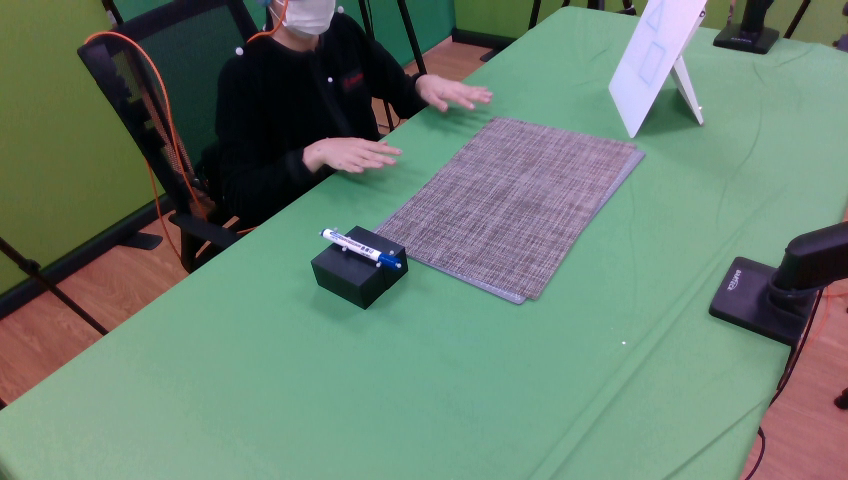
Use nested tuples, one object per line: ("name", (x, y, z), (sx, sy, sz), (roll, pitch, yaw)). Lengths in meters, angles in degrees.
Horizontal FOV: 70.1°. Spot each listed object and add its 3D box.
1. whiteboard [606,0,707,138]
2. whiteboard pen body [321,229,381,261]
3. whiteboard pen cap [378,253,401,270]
("whiteboard", (0.496, -0.359, 1.147), (0.144, 0.305, 0.216), (12, 40, -7))
("whiteboard pen body", (-0.100, 0.010, 0.901), (0.139, 0.017, 0.017), (22, 48, 30))
("whiteboard pen cap", (-0.051, 0.030, 0.870), (0.033, 0.018, 0.018), (21, 48, 28))
